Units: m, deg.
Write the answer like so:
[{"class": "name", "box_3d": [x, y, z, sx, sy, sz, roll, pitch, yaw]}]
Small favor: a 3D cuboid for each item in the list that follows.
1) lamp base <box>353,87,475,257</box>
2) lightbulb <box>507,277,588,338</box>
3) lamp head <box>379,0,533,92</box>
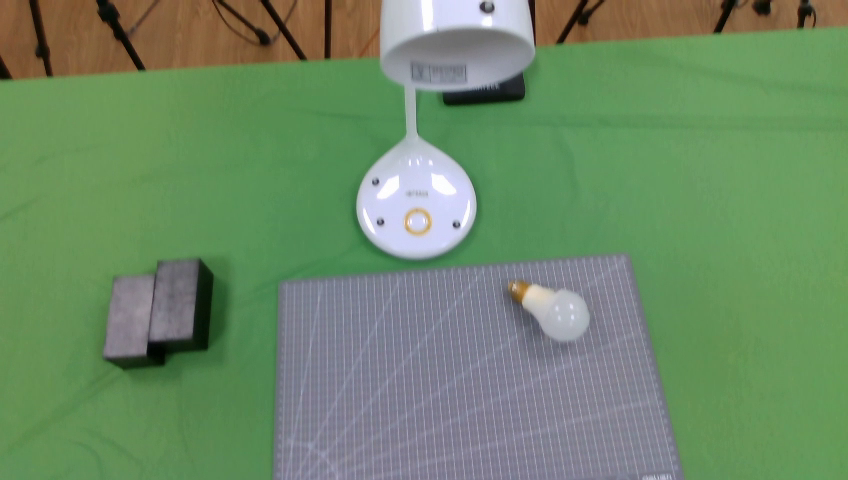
[{"class": "lamp base", "box_3d": [-0.017, -0.095, 0.740, 0.161, 0.181, 0.177, -9, 62, -4]}, {"class": "lightbulb", "box_3d": [0.145, 0.076, 0.728, 0.106, 0.060, 0.059, 30, 67, 31]}, {"class": "lamp head", "box_3d": [0.018, -0.181, 0.444, 0.112, 0.113, 0.122, -5, 79, -2]}]
